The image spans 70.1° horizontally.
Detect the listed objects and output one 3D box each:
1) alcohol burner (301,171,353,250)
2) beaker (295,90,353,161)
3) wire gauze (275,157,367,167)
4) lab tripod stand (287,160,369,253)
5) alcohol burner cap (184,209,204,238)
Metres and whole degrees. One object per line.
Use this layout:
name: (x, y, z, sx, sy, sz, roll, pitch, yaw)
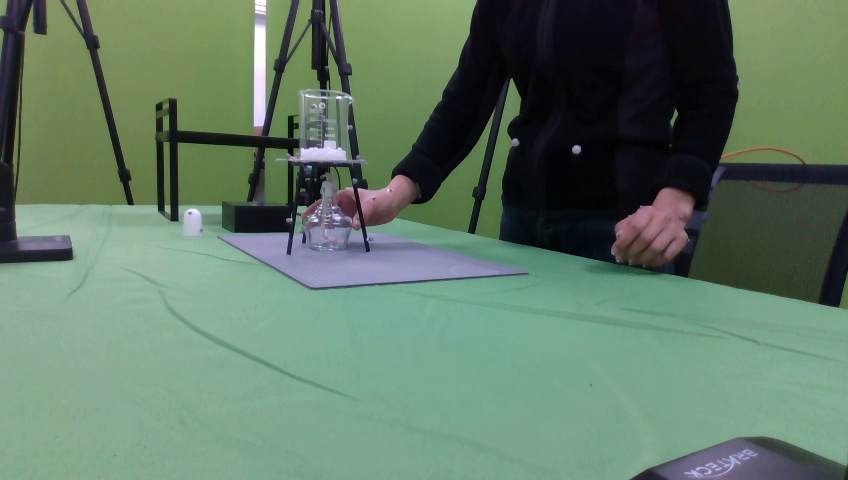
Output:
alcohol burner: (-0.147, -0.044, 0.916, 0.078, 0.119, 0.078, 2, 5, 0)
beaker: (-0.146, -0.164, 0.884, 0.084, 0.100, 0.074, 1, 7, -6)
wire gauze: (-0.148, -0.117, 0.895, 0.121, 0.011, 0.125, 3, 5, -3)
lab tripod stand: (-0.157, -0.053, 0.901, 0.148, 0.131, 0.148, 0, 7, 0)
alcohol burner cap: (-0.390, -0.029, 1.025, 0.034, 0.048, 0.034, 2, 9, 0)
